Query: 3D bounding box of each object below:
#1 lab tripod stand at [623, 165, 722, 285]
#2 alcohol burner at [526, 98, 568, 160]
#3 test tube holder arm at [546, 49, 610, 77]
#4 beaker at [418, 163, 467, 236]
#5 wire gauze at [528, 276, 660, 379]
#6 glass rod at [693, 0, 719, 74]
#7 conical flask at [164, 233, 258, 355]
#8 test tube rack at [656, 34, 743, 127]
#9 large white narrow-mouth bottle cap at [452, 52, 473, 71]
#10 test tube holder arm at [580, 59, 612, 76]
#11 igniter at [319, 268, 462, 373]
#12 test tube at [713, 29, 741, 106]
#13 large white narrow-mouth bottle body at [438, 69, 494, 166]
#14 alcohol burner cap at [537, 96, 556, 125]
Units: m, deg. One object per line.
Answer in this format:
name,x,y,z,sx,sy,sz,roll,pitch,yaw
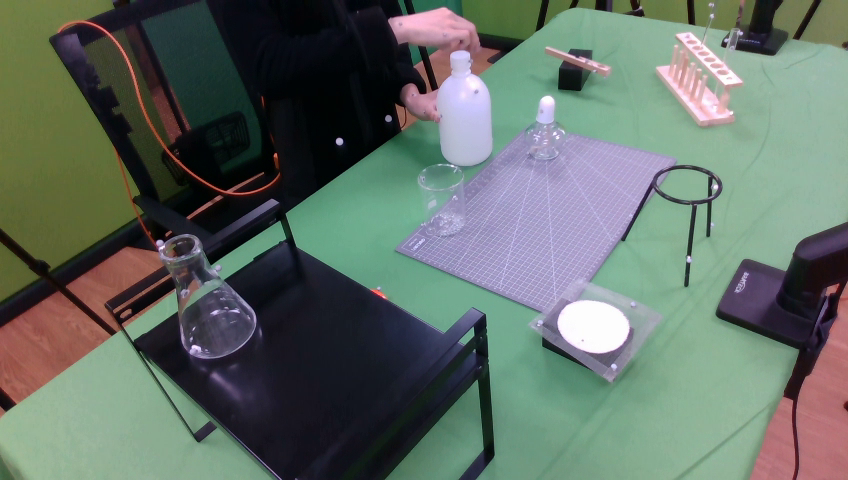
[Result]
lab tripod stand,0.365,-0.030,0.874,0.148,0.132,0.147,-6,41,6
alcohol burner,0.228,-0.210,1.118,0.078,0.119,0.077,-5,43,5
test tube holder arm,0.332,-0.387,1.315,0.013,0.015,0.177,-26,42,-27
beaker,0.035,-0.065,0.990,0.073,0.101,0.084,24,49,32
wire gauze,0.213,0.103,0.763,0.124,0.011,0.122,30,52,35
glass rod,0.560,-0.401,1.214,0.008,0.200,0.008,-1,48,2
conical flask,-0.217,0.051,0.601,0.075,0.122,0.075,-4,40,4
test tube rack,0.553,-0.331,1.233,0.067,0.085,0.241,-7,40,2
large white narrow-mouth bottle cap,0.067,-0.313,1.060,0.038,0.024,0.037,-4,40,4
test tube holder arm,0.363,-0.369,1.288,0.010,0.015,0.087,-27,43,-29
igniter,-0.059,0.107,0.862,0.274,0.025,0.057,28,62,34
test tube,0.572,-0.324,1.146,0.017,0.151,0.017,-3,39,3
large white narrow-mouth bottle body,0.077,-0.242,1.122,0.102,0.195,0.101,-4,40,4
alcohol burner cap,0.223,-0.237,1.095,0.034,0.048,0.033,-1,42,1
